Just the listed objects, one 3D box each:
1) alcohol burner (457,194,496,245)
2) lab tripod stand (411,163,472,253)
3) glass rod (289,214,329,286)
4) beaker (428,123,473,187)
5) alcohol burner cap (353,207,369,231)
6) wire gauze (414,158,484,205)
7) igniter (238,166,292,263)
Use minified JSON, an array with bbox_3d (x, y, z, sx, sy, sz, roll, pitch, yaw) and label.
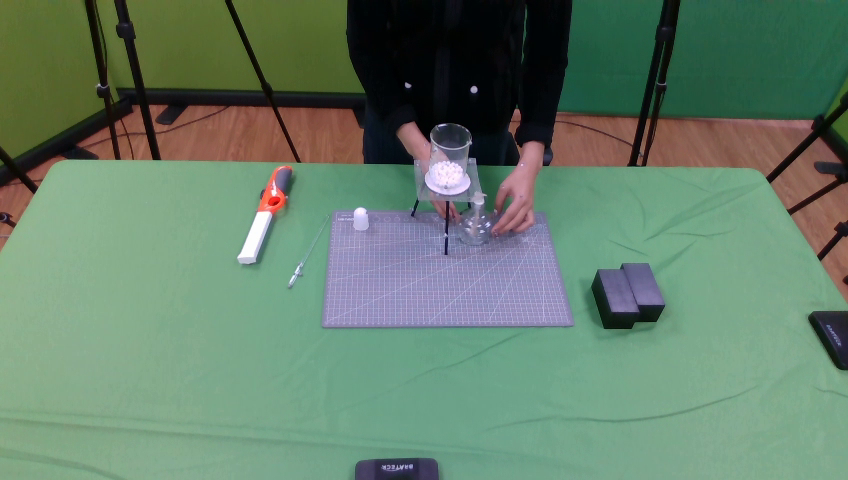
[{"bbox_3d":[0.105,-0.047,1.183,0.078,0.119,0.077,2,48,-2],"label":"alcohol burner"},{"bbox_3d":[0.043,-0.069,1.187,0.148,0.132,0.147,3,47,-3],"label":"lab tripod stand"},{"bbox_3d":[-0.221,0.014,1.179,0.008,0.008,0.199,12,46,8],"label":"glass rod"},{"bbox_3d":[0.044,-0.154,1.109,0.074,0.101,0.083,-25,54,-25],"label":"beaker"},{"bbox_3d":[-0.127,-0.046,1.215,0.034,0.048,0.033,3,47,-3],"label":"alcohol burner cap"},{"bbox_3d":[0.045,-0.113,1.137,0.125,0.011,0.120,1,48,-6],"label":"wire gauze"},{"bbox_3d":[-0.318,-0.060,1.229,0.057,0.025,0.275,-2,45,10],"label":"igniter"}]
